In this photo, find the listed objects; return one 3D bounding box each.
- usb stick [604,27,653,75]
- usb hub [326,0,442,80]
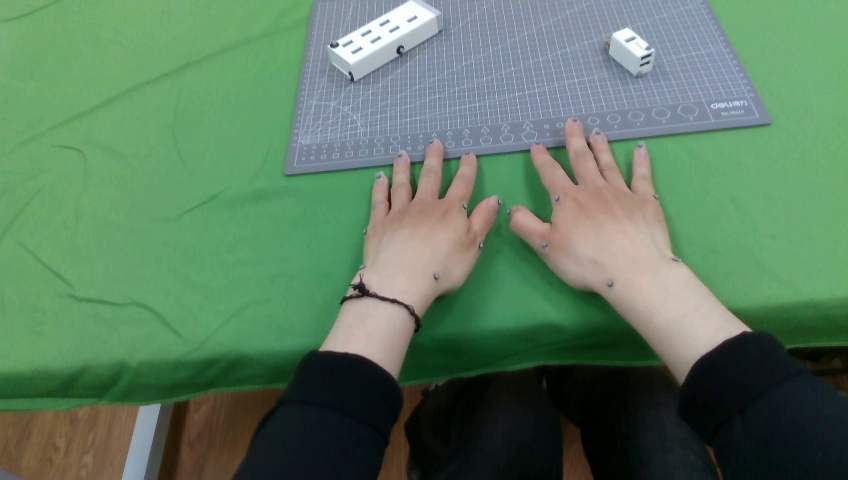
[{"bbox_3d":[0.202,-0.192,0.607,0.021,0.027,0.058,-25,51,-8],"label":"usb stick"},{"bbox_3d":[-0.043,-0.224,0.670,0.125,0.025,0.049,-35,55,-18],"label":"usb hub"}]
